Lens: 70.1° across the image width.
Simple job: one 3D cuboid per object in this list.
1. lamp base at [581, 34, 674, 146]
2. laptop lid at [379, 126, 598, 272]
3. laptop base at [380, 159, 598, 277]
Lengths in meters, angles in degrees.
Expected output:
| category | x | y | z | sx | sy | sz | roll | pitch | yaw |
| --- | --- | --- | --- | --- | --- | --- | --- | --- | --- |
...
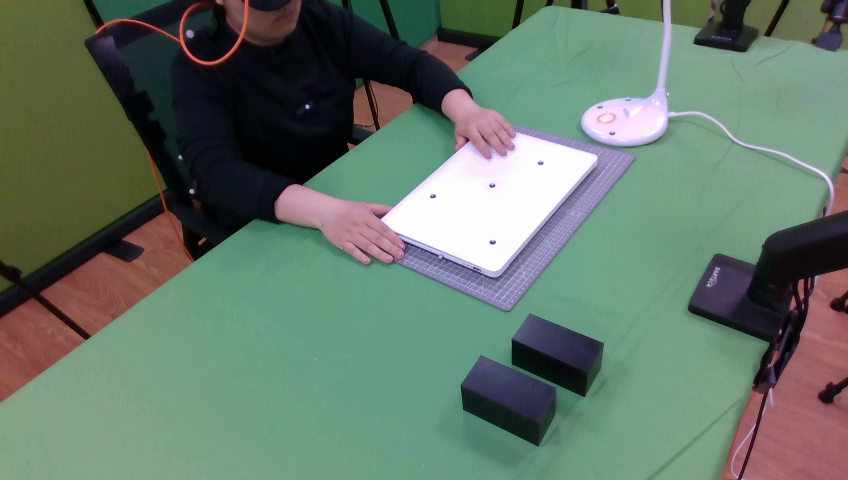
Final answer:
| category | x | y | z | sx | sy | sz | roll | pitch | yaw |
| --- | --- | --- | --- | --- | --- | --- | --- | --- | --- |
| lamp base | 0.392 | -0.291 | 1.129 | 0.180 | 0.181 | 0.159 | -11 | 41 | -8 |
| laptop lid | 0.117 | -0.090 | 1.034 | 0.240 | 0.013 | 0.358 | 24 | 49 | 31 |
| laptop base | 0.120 | -0.077 | 1.043 | 0.233 | 0.023 | 0.355 | 20 | 47 | 32 |
